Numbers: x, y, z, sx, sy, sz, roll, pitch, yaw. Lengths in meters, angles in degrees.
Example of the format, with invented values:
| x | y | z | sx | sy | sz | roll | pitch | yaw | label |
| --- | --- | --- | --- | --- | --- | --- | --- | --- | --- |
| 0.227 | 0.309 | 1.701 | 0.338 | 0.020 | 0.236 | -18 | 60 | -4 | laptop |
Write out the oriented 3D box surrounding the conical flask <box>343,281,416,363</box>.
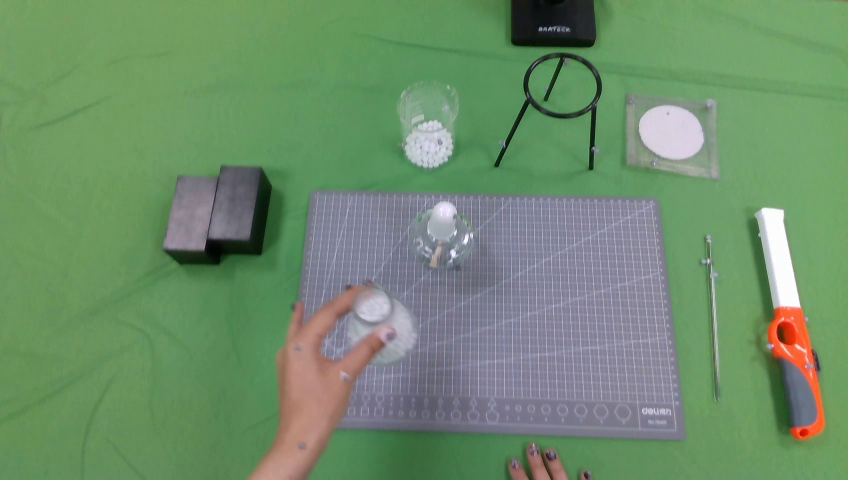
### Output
| x | y | z | sx | sy | sz | roll | pitch | yaw | label |
| --- | --- | --- | --- | --- | --- | --- | --- | --- | --- |
| -0.046 | 0.073 | 0.575 | 0.075 | 0.122 | 0.075 | 0 | 71 | 0 | conical flask |

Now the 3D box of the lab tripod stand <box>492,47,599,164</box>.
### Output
| x | y | z | sx | sy | sz | roll | pitch | yaw | label |
| --- | --- | --- | --- | --- | --- | --- | --- | --- | --- |
| 0.155 | -0.159 | 0.755 | 0.148 | 0.132 | 0.147 | 0 | 70 | 1 | lab tripod stand |

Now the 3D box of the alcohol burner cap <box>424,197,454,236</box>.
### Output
| x | y | z | sx | sy | sz | roll | pitch | yaw | label |
| --- | --- | --- | --- | --- | --- | --- | --- | --- | --- |
| 0.018 | -0.029 | 0.674 | 0.034 | 0.048 | 0.033 | 4 | 62 | -6 | alcohol burner cap |

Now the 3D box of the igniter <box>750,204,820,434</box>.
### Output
| x | y | z | sx | sy | sz | roll | pitch | yaw | label |
| --- | --- | --- | --- | --- | --- | --- | --- | --- | --- |
| 0.423 | 0.086 | 0.713 | 0.057 | 0.025 | 0.274 | 6 | 68 | -9 | igniter |

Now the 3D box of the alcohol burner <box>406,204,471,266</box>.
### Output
| x | y | z | sx | sy | sz | roll | pitch | yaw | label |
| --- | --- | --- | --- | --- | --- | --- | --- | --- | --- |
| 0.018 | -0.014 | 0.707 | 0.078 | 0.120 | 0.077 | 1 | 68 | -1 | alcohol burner |

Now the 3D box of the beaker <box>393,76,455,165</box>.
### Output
| x | y | z | sx | sy | sz | roll | pitch | yaw | label |
| --- | --- | --- | --- | --- | --- | --- | --- | --- | --- |
| 0.004 | -0.149 | 0.771 | 0.084 | 0.101 | 0.073 | -37 | 73 | -13 | beaker |

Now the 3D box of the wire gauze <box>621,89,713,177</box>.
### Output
| x | y | z | sx | sy | sz | roll | pitch | yaw | label |
| --- | --- | --- | --- | --- | --- | --- | --- | --- | --- |
| 0.328 | -0.149 | 0.816 | 0.125 | 0.011 | 0.120 | 9 | 70 | 2 | wire gauze |

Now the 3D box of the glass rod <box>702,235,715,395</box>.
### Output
| x | y | z | sx | sy | sz | roll | pitch | yaw | label |
| --- | --- | --- | --- | --- | --- | --- | --- | --- | --- |
| 0.339 | 0.085 | 0.725 | 0.008 | 0.008 | 0.198 | 6 | 69 | 3 | glass rod |
